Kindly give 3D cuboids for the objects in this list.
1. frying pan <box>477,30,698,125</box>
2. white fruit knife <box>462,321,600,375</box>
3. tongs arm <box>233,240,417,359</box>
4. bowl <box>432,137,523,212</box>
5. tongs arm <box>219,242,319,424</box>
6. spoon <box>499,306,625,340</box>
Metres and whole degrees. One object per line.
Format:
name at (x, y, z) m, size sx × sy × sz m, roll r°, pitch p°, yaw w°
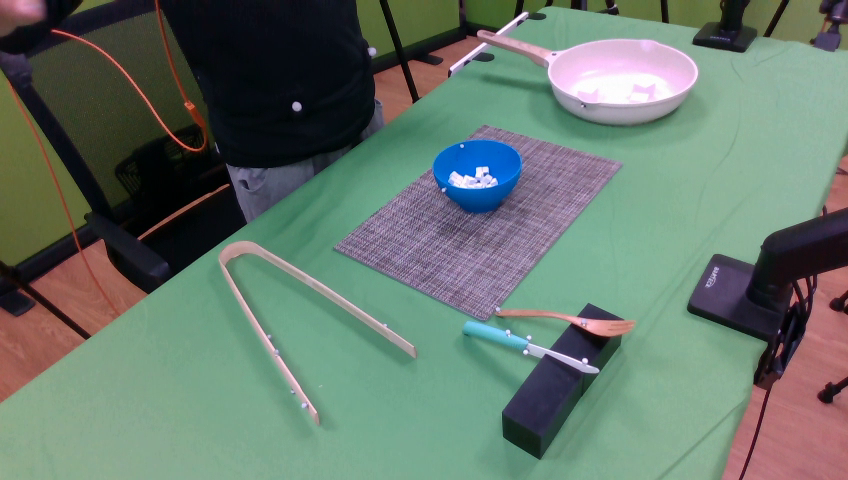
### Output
frying pan at (0.321, -0.371, 1.290) m, size 0.484 × 0.103 × 0.308 m, roll 29°, pitch 51°, yaw 24°
white fruit knife at (0.126, 0.132, 0.752) m, size 0.205 × 0.027 × 0.016 m, roll 12°, pitch 47°, yaw 42°
tongs arm at (-0.157, 0.078, 0.896) m, size 0.384 × 0.028 × 0.028 m, roll 26°, pitch 53°, yaw 33°
bowl at (0.091, -0.100, 1.022) m, size 0.151 × 0.077 × 0.150 m, roll -4°, pitch 41°, yaw 4°
tongs arm at (-0.220, 0.114, 0.856) m, size 0.051 × 0.026 × 0.381 m, roll -28°, pitch 44°, yaw -24°
spoon at (0.169, 0.101, 0.773) m, size 0.042 × 0.021 × 0.192 m, roll -10°, pitch 13°, yaw -38°
